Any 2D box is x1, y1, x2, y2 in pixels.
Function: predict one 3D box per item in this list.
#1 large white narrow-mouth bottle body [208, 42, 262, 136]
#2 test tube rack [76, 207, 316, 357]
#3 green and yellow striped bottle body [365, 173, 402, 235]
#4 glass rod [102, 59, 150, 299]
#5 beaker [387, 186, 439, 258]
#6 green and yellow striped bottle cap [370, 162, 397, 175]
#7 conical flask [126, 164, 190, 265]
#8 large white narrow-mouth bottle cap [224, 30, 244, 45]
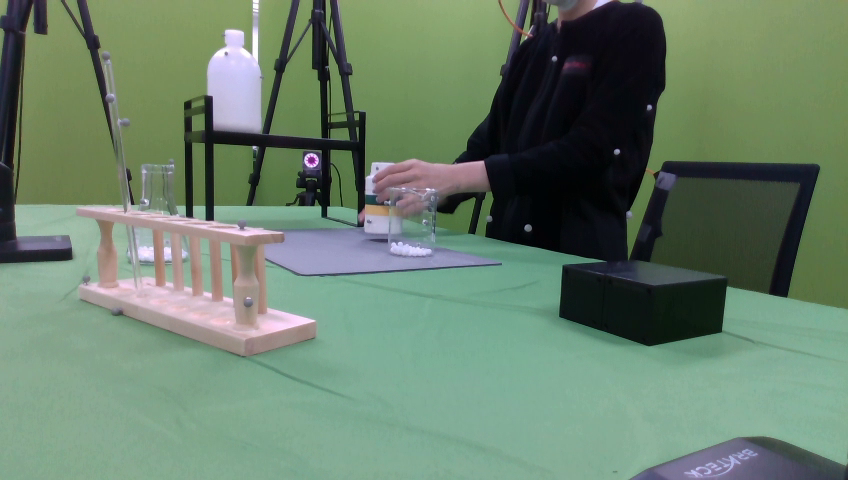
[{"bbox_3d":[-0.368,-0.304,1.181,0.102,0.194,0.101,2,9,0],"label":"large white narrow-mouth bottle body"},{"bbox_3d":[-0.196,0.023,0.500,0.241,0.085,0.067,8,9,36],"label":"test tube rack"},{"bbox_3d":[-0.069,-0.071,1.036,0.063,0.119,0.063,2,5,0],"label":"green and yellow striped bottle body"},{"bbox_3d":[-0.243,-0.045,0.496,0.008,0.199,0.008,-4,12,1],"label":"glass rod"},{"bbox_3d":[-0.015,-0.027,0.886,0.074,0.100,0.083,-1,8,-20],"label":"beaker"},{"bbox_3d":[-0.069,-0.122,1.030,0.045,0.020,0.045,3,4,0],"label":"green and yellow striped bottle cap"},{"bbox_3d":[-0.332,-0.033,0.756,0.075,0.122,0.075,2,7,0],"label":"conical flask"},{"bbox_3d":[-0.365,-0.389,1.166,0.038,0.024,0.037,2,9,0],"label":"large white narrow-mouth bottle cap"}]
